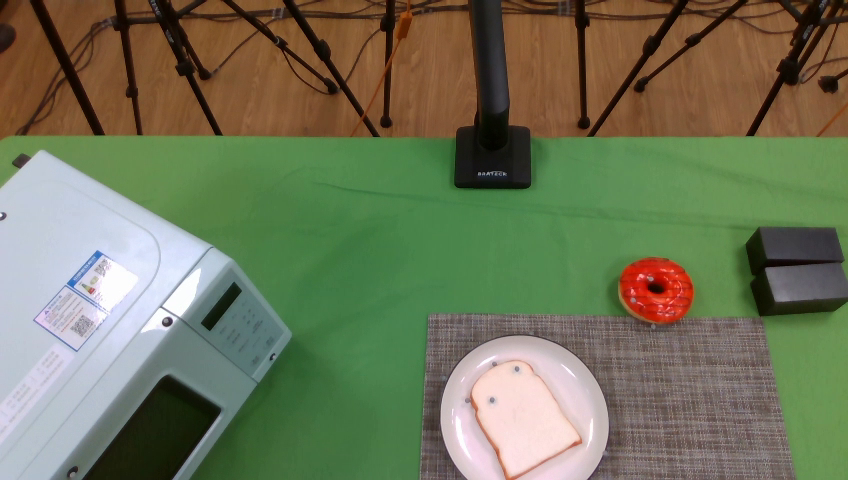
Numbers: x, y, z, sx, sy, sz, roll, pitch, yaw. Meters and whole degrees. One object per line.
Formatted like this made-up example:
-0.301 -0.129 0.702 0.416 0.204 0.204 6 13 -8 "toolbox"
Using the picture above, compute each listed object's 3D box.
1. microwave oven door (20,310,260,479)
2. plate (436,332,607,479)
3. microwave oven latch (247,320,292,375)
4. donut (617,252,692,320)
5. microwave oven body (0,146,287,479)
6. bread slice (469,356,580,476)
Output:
-0.332 0.261 0.642 0.039 0.246 0.354 26 67 18 "microwave oven door"
0.120 0.219 0.758 0.207 0.039 0.206 -2 62 4 "plate"
-0.210 0.140 0.811 0.030 0.030 0.079 28 69 18 "microwave oven latch"
0.312 0.063 0.823 0.099 0.049 0.098 -4 59 7 "donut"
-0.435 0.170 0.704 0.324 0.262 0.440 27 68 17 "microwave oven body"
0.117 0.213 0.762 0.105 0.019 0.130 -26 64 -10 "bread slice"
